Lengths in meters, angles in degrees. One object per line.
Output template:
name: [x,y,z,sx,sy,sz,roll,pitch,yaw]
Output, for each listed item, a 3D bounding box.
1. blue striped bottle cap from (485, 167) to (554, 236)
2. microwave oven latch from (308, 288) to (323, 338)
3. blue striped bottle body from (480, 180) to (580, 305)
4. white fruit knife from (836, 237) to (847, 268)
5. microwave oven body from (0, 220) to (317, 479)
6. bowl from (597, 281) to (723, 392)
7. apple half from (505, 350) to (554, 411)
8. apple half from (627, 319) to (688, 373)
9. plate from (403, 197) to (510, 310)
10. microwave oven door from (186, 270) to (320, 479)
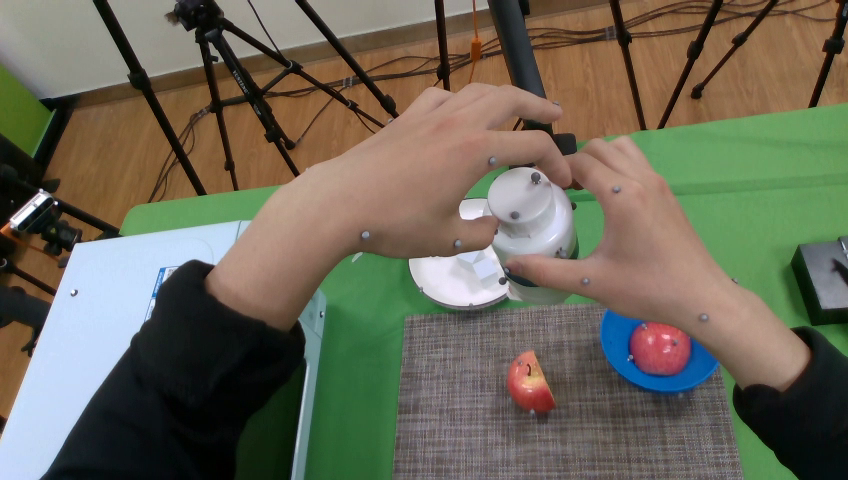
blue striped bottle cap: [0.063,-0.026,0.402,0.044,0.021,0.044,-8,60,14]
microwave oven latch: [-0.182,0.119,0.983,0.030,0.030,0.078,-7,57,12]
blue striped bottle body: [0.079,-0.002,0.445,0.063,0.122,0.062,-8,61,15]
white fruit knife: [0.557,0.093,0.759,0.016,0.027,0.206,-21,70,26]
microwave oven body: [-0.354,0.235,0.842,0.325,0.263,0.437,-7,57,12]
bowl: [0.310,0.138,0.808,0.151,0.077,0.150,-8,56,13]
apple half: [0.139,0.197,0.827,0.053,0.075,0.080,-24,58,6]
apple half: [0.310,0.137,0.803,0.081,0.033,0.080,-9,55,13]
plate: [0.070,0.024,0.987,0.207,0.039,0.205,-8,57,12]
microwave oven door: [-0.215,0.249,0.784,0.039,0.246,0.352,-8,56,13]
